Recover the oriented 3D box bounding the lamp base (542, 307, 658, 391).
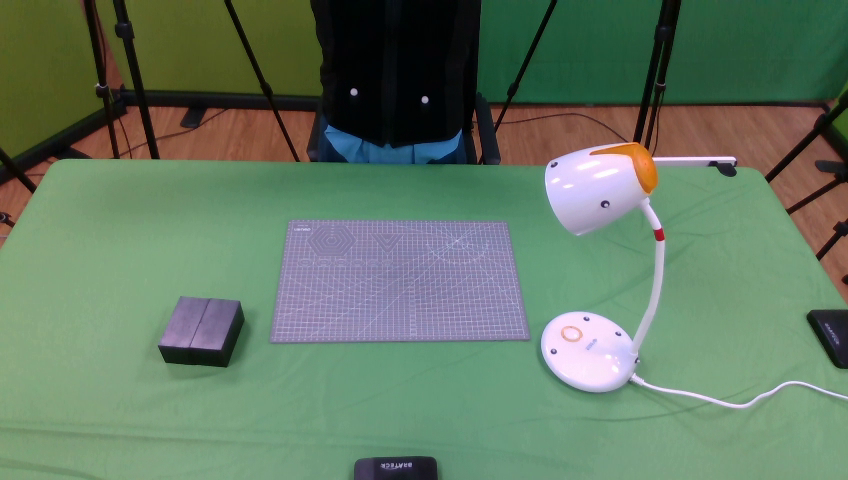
[{"bbox_3d":[0.296,0.138,0.975,0.178,0.181,0.160,28,51,18],"label":"lamp base"}]

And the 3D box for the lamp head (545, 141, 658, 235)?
[{"bbox_3d":[0.237,-0.072,0.783,0.123,0.113,0.112,-16,33,37],"label":"lamp head"}]
